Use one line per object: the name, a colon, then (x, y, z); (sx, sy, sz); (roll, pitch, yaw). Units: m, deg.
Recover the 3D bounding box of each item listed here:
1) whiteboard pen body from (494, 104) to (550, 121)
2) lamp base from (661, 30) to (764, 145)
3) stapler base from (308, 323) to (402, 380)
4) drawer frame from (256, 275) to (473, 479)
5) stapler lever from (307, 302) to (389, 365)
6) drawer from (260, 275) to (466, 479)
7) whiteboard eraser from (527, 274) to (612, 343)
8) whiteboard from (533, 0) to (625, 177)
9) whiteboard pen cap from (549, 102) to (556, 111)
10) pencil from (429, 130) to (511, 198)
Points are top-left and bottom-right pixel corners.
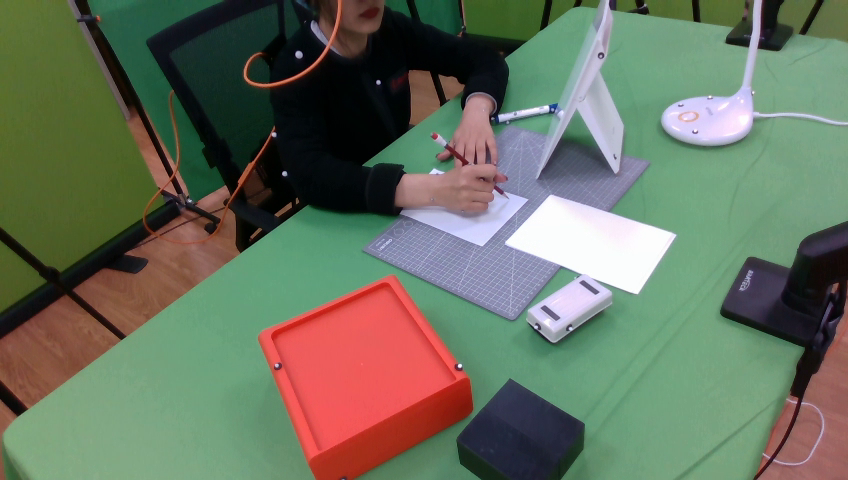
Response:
whiteboard pen body: (0.216, -0.268, 1.256); (0.141, 0.017, 0.017); (-12, 40, -4)
lamp base: (0.535, -0.287, 1.096); (0.179, 0.181, 0.159); (-10, 40, -4)
stapler base: (-0.094, 0.142, 0.812); (0.131, 0.024, 0.041); (-25, 29, -17)
drawer frame: (-0.078, 0.164, 0.756); (0.202, 0.083, 0.211); (-23, 43, -17)
stapler lever: (-0.101, 0.121, 0.799); (0.118, 0.040, 0.026); (-26, 29, -17)
drawer: (-0.080, 0.162, 0.760); (0.195, 0.073, 0.210); (-22, 42, -16)
whiteboard eraser: (0.198, 0.094, 0.820); (0.113, 0.042, 0.055); (-30, 43, -22)
whiteboard: (0.321, -0.258, 1.049); (0.144, 0.306, 0.217); (21, 45, 4)
whiteboard pen cap: (0.273, -0.279, 1.259); (0.033, 0.018, 0.018); (-10, 40, -5)
pencil: (0.080, -0.120, 0.992); (0.012, 0.195, 0.012); (-35, 36, 31)
